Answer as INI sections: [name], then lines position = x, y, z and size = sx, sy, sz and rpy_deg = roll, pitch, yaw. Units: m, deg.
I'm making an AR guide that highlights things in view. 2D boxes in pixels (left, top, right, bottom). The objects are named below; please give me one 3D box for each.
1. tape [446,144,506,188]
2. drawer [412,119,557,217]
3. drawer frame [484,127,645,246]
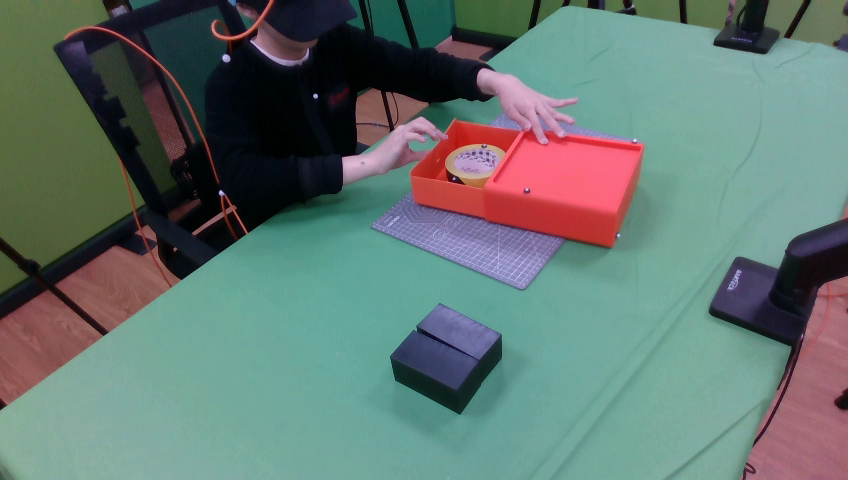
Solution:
[tape]
position = 0.098, -0.118, 1.062
size = 0.117, 0.053, 0.116
rpy_deg = -5, 40, 5
[drawer]
position = 0.114, -0.124, 1.057
size = 0.210, 0.073, 0.194
rpy_deg = 13, 43, 23
[drawer frame]
position = 0.234, -0.096, 1.003
size = 0.212, 0.083, 0.202
rpy_deg = 13, 44, 22
